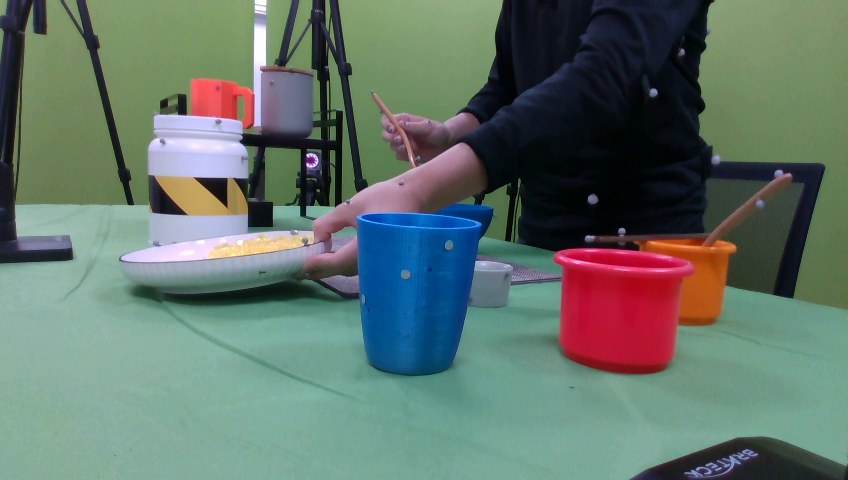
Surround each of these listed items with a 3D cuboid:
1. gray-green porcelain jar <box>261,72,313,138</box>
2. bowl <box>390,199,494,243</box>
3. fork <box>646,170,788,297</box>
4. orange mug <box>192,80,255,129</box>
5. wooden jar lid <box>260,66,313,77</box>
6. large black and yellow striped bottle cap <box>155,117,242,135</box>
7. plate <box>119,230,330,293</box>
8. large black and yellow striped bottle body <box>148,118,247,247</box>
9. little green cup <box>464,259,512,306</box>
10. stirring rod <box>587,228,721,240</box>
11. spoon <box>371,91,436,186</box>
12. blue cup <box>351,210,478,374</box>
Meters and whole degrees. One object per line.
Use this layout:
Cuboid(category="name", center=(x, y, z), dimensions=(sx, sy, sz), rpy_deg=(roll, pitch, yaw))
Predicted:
Cuboid(category="gray-green porcelain jar", center=(-0.284, -0.277, 1.253), dimensions=(0.106, 0.126, 0.106), rpy_deg=(2, 8, 0))
Cuboid(category="bowl", center=(0.024, -0.016, 0.874), dimensions=(0.151, 0.077, 0.151), rpy_deg=(3, 8, 0))
Cuboid(category="fork", center=(0.256, 0.004, 0.543), dimensions=(0.028, 0.018, 0.207), rpy_deg=(3, -36, -10))
Cuboid(category="orange mug", center=(-0.389, -0.257, 1.172), dimensions=(0.126, 0.100, 0.083), rpy_deg=(-1, 6, 9))
Cuboid(category="wooden jar lid", center=(-0.283, -0.339, 1.244), dimensions=(0.108, 0.020, 0.108), rpy_deg=(6, 8, -1))
Cuboid(category="large black and yellow striped bottle cap", center=(-0.313, -0.159, 0.845), dimensions=(0.115, 0.019, 0.115), rpy_deg=(3, 9, 0))
Cuboid(category="plate", center=(-0.201, 0.022, 0.633), dimensions=(0.209, 0.038, 0.209), rpy_deg=(-4, 7, 1))
Cuboid(category="large black and yellow striped bottle body", center=(-0.318, -0.076, 0.855), dimensions=(0.131, 0.184, 0.130), rpy_deg=(2, 7, 0))
Cuboid(category="little green cup", center=(0.057, 0.043, 0.612), dimensions=(0.061, 0.038, 0.061), rpy_deg=(3, 7, 0))
Cuboid(category="stirring rod", center=(0.227, -0.007, 0.586), dimensions=(0.177, 0.006, 0.014), rpy_deg=(-2, 11, -29))
Cuboid(category="spoon", center=(-0.034, -0.158, 0.928), dimensions=(0.021, 0.193, 0.042), rpy_deg=(-32, -20, 13))
Cuboid(category="blue cup", center=(-0.009, 0.034, 0.414), dimensions=(0.093, 0.100, 0.092), rpy_deg=(4, 8, 0))
